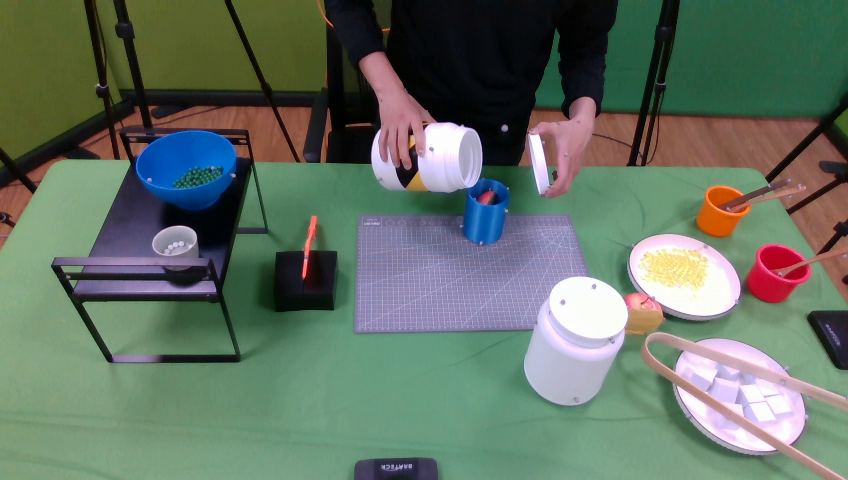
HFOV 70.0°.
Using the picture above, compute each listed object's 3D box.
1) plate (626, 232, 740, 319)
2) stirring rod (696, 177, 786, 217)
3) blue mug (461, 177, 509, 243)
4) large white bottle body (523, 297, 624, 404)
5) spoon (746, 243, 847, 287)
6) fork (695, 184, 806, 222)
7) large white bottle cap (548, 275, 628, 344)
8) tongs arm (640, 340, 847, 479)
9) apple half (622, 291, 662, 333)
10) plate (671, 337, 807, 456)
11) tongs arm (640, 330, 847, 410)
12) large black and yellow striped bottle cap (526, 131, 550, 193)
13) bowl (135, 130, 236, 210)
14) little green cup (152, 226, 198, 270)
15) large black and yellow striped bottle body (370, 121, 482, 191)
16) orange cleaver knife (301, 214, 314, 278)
[{"bbox_3d":[0.488,0.070,1.157,0.209,0.038,0.208,3,46,-3],"label":"plate"},{"bbox_3d":[0.648,-0.087,1.244,0.176,0.006,0.014,-25,50,29],"label":"stirring rod"},{"bbox_3d":[0.114,-0.070,1.210,0.082,0.106,0.115,-12,48,-15],"label":"blue mug"},{"bbox_3d":[0.235,0.159,0.952,0.131,0.185,0.130,2,47,-2],"label":"large white bottle body"},{"bbox_3d":[0.702,0.044,1.126,0.194,0.022,0.041,-29,37,30],"label":"spoon"},{"bbox_3d":[0.658,-0.074,1.230,0.207,0.019,0.028,-24,33,36],"label":"fork"},{"bbox_3d":[0.240,0.100,0.890,0.115,0.018,0.114,3,47,-3],"label":"large white bottle cap"},{"bbox_3d":[0.500,0.277,0.919,0.386,0.028,0.028,34,59,22],"label":"tongs arm"},{"bbox_3d":[0.372,0.124,1.074,0.081,0.075,0.053,0,42,1],"label":"apple half"},{"bbox_3d":[0.504,0.254,0.984,0.208,0.039,0.206,2,46,-2],"label":"plate"},{"bbox_3d":[0.543,0.225,0.969,0.384,0.026,0.050,22,52,13],"label":"tongs arm"},{"bbox_3d":[0.209,-0.144,1.117,0.019,0.115,0.114,-11,47,4],"label":"large black and yellow striped bottle cap"},{"bbox_3d":[-0.375,-0.102,0.978,0.151,0.077,0.150,2,46,-2],"label":"bowl"},{"bbox_3d":[-0.364,0.013,0.894,0.061,0.039,0.061,3,46,-3],"label":"little green cup"},{"bbox_3d":[0.006,-0.160,1.153,0.183,0.131,0.130,5,43,28],"label":"large black and yellow striped bottle body"},{"bbox_3d":[-0.218,0.008,1.131,0.012,0.077,0.210,6,19,-9],"label":"orange cleaver knife"}]
